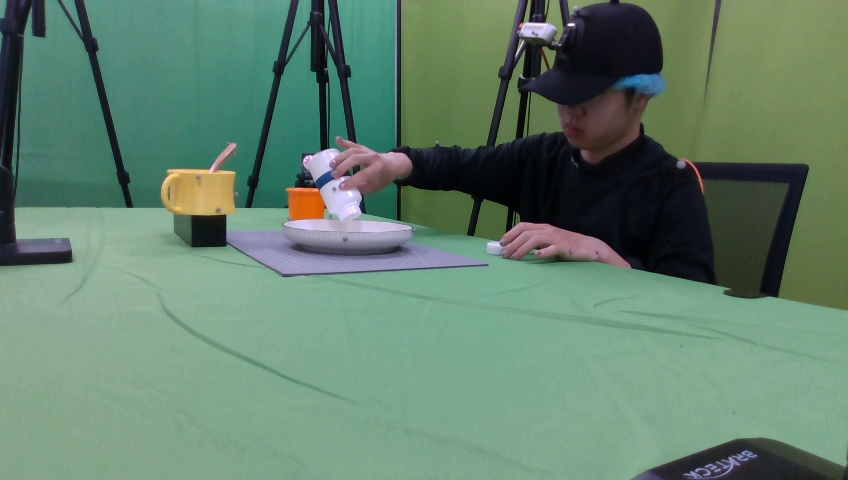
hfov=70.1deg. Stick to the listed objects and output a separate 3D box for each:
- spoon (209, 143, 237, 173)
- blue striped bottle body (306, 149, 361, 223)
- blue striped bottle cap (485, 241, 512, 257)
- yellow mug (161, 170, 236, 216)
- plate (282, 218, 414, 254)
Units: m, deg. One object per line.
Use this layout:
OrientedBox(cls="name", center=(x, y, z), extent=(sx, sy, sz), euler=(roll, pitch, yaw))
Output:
OrientedBox(cls="spoon", center=(-0.341, -0.113, 0.990), extent=(0.041, 0.021, 0.193), euler=(1, 39, 6))
OrientedBox(cls="blue striped bottle body", center=(-0.151, -0.091, 1.044), extent=(0.063, 0.120, 0.063), euler=(-26, -9, -4))
OrientedBox(cls="blue striped bottle cap", center=(0.123, 0.015, 1.000), extent=(0.044, 0.020, 0.044), euler=(6, 7, 0))
OrientedBox(cls="yellow mug", center=(-0.354, -0.074, 0.935), extent=(0.099, 0.064, 0.131), euler=(5, 9, 21))
OrientedBox(cls="plate", center=(-0.121, -0.007, 0.971), extent=(0.208, 0.039, 0.207), euler=(2, 7, 0))
